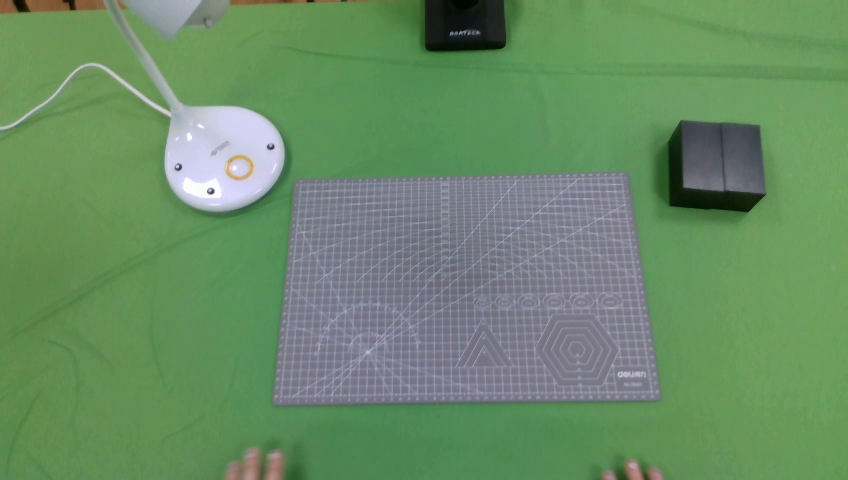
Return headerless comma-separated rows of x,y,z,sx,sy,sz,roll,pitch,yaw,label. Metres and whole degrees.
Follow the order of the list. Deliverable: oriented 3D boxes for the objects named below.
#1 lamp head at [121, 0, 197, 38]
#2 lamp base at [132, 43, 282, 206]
-0.230,-0.245,0.490,0.124,0.112,0.112,34,68,-26,lamp head
-0.288,-0.154,0.759,0.178,0.181,0.160,31,72,17,lamp base
